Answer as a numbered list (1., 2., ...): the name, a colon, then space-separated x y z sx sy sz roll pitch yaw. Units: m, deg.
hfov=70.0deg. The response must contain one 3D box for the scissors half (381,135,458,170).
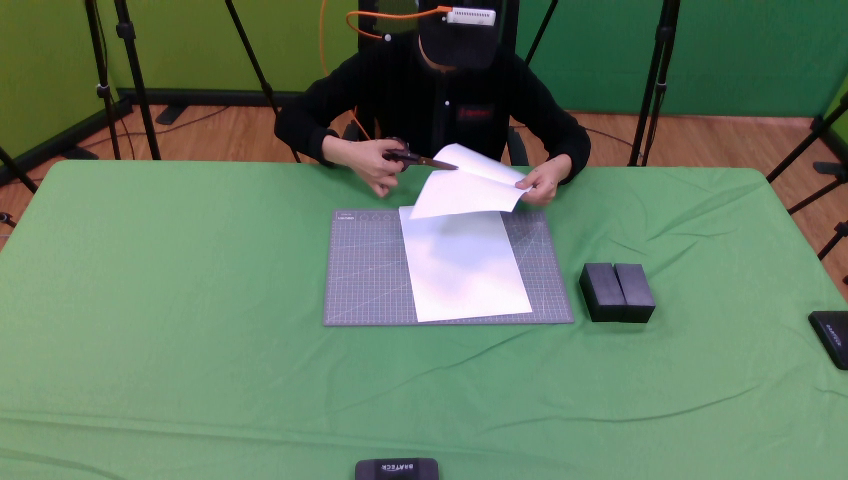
1. scissors half: -0.009 -0.176 1.240 0.175 0.040 0.013 25 38 13

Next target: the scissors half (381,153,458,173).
1. scissors half: -0.010 -0.157 1.251 0.175 0.040 0.013 5 26 25
